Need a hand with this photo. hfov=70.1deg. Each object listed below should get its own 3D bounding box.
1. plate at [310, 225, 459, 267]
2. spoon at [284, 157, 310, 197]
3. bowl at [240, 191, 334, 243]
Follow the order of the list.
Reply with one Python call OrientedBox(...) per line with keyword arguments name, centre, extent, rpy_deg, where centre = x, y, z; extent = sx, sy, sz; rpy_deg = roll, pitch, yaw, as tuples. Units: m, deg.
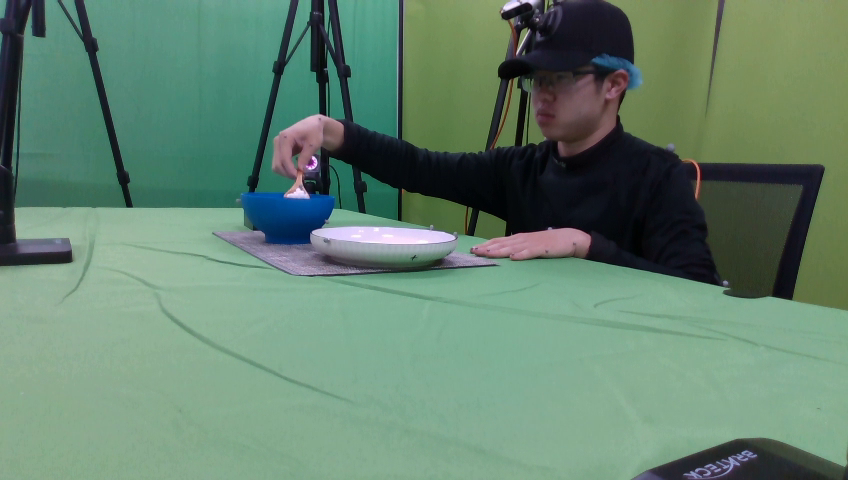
OrientedBox(name="plate", centre=(-0.055, 0.008, 0.851), extent=(0.208, 0.039, 0.207), rpy_deg=(2, 7, 0))
OrientedBox(name="spoon", centre=(-0.214, -0.108, 1.043), extent=(0.042, 0.021, 0.193), rpy_deg=(-2, 32, -6))
OrientedBox(name="bowl", centre=(-0.223, -0.037, 0.992), extent=(0.151, 0.077, 0.151), rpy_deg=(2, 7, 0))
